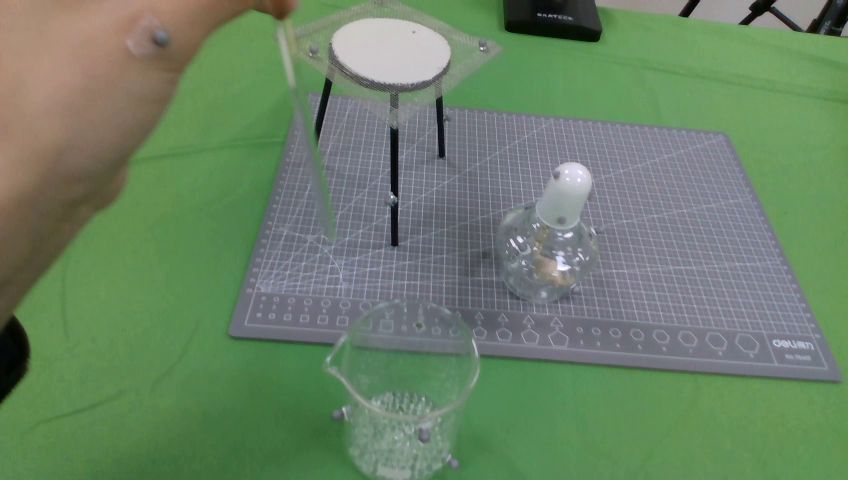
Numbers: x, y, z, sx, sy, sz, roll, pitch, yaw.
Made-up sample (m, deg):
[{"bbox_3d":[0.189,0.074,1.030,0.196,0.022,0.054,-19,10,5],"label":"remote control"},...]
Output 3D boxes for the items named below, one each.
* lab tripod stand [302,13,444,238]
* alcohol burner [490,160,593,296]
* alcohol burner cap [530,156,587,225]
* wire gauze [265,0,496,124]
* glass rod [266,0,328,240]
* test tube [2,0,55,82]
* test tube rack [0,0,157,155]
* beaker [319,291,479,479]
[{"bbox_3d":[-0.034,-0.097,0.488,0.148,0.132,0.147,5,49,-6],"label":"lab tripod stand"},{"bbox_3d":[0.090,-0.013,0.444,0.078,0.120,0.077,5,47,-5],"label":"alcohol burner"},{"bbox_3d":[0.094,-0.036,0.416,0.034,0.048,0.033,4,53,-4],"label":"alcohol burner cap"},{"bbox_3d":[-0.030,-0.141,0.437,0.124,0.011,0.121,36,54,21],"label":"wire gauze"},{"bbox_3d":[-0.052,-0.071,0.225,0.008,0.201,0.008,0,46,1],"label":"glass rod"},{"bbox_3d":[-0.343,-0.200,0.506,0.017,0.151,0.017,2,45,-2],"label":"test tube"},{"bbox_3d":[-0.361,-0.132,0.510,0.066,0.086,0.242,35,53,22],"label":"test tube rack"},{"bbox_3d":[-0.016,0.090,0.352,0.084,0.101,0.073,-3,48,-9],"label":"beaker"}]
